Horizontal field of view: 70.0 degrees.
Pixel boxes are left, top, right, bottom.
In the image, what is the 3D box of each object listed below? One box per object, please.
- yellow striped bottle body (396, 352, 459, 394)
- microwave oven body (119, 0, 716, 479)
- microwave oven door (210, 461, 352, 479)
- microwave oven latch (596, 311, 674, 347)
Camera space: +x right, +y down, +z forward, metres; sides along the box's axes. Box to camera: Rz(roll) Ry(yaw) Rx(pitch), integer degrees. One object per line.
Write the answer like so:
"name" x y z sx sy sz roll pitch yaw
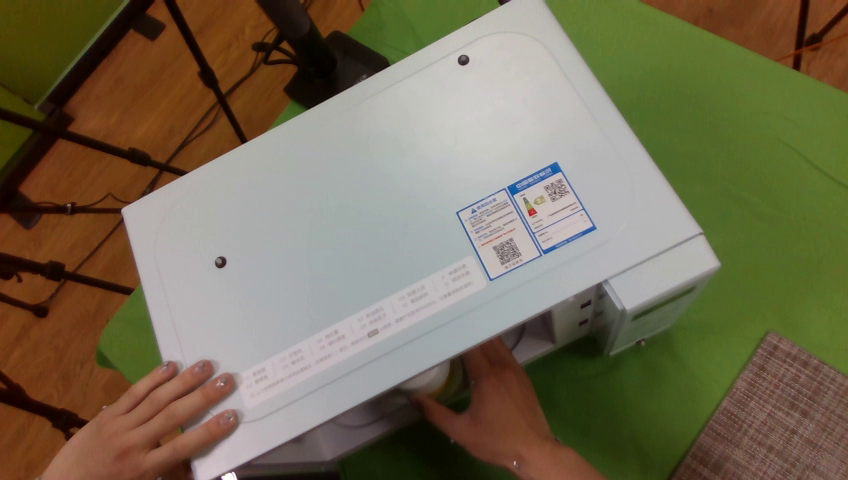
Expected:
"yellow striped bottle body" -0.008 0.114 0.588 0.062 0.121 0.062 -5 71 14
"microwave oven body" -0.013 0.016 0.624 0.442 0.262 0.323 -28 69 3
"microwave oven door" 0.001 0.300 0.521 0.354 0.246 0.039 25 78 19
"microwave oven latch" 0.226 0.086 0.651 0.079 0.030 0.030 -26 69 4
